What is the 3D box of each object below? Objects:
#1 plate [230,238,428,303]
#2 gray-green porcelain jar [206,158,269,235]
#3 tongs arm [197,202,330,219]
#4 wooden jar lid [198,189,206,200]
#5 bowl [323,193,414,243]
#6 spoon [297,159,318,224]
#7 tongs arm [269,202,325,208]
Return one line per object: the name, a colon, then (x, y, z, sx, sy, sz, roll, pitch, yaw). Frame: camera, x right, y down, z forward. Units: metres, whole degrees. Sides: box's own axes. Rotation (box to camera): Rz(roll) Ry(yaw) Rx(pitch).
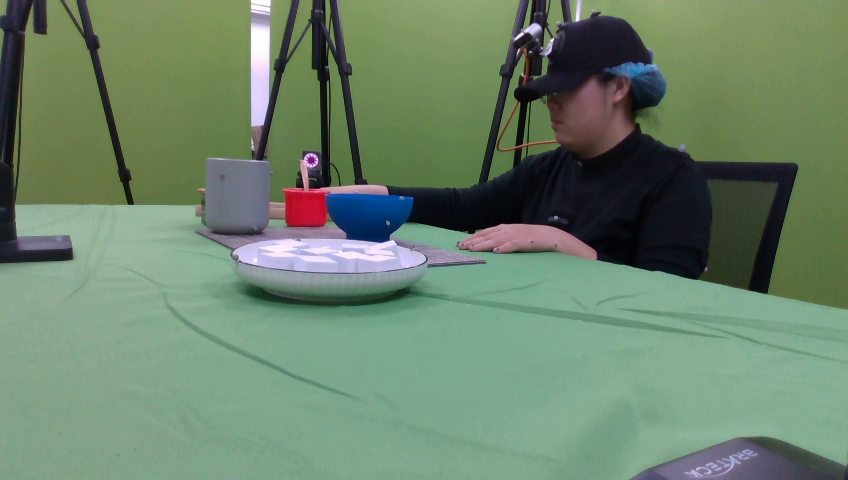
plate: (-0.099, 0.032, 0.651, 0.209, 0.038, 0.209, 3, 8, 0)
gray-green porcelain jar: (-0.322, -0.076, 1.048, 0.106, 0.126, 0.106, 3, 7, 0)
tongs arm: (-0.306, -0.064, 1.357, 0.389, 0.028, 0.028, 2, 4, -11)
wooden jar lid: (-0.382, -0.088, 1.175, 0.108, 0.020, 0.108, 3, 8, 0)
bowl: (-0.093, -0.037, 1.015, 0.151, 0.077, 0.151, 2, 7, 0)
spoon: (-0.244, -0.103, 1.251, 0.042, 0.021, 0.193, 1, 51, -17)
tongs arm: (-0.311, -0.073, 1.406, 0.386, 0.026, 0.050, 3, 8, -7)
